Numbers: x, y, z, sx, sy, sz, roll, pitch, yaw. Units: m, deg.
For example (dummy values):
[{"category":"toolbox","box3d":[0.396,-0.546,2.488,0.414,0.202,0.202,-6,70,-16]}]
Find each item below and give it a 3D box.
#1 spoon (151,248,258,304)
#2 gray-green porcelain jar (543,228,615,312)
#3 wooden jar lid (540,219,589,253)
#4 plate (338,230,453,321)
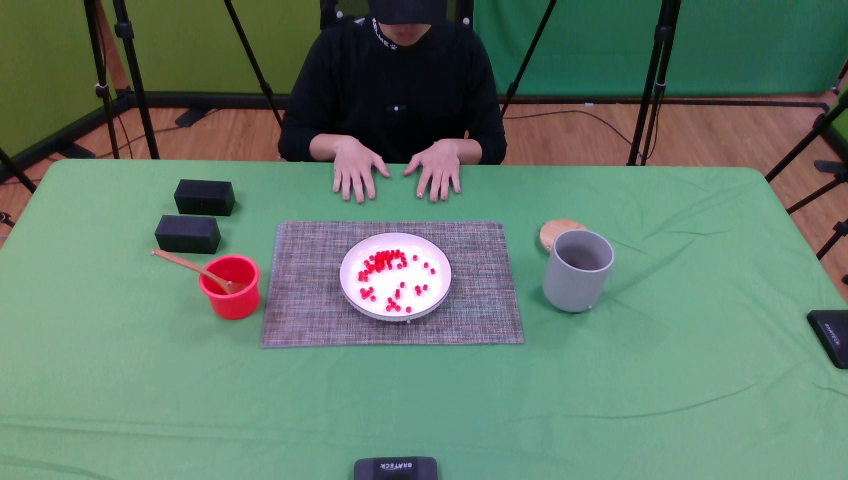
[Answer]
[{"category":"spoon","box3d":[-0.369,0.058,1.028,0.195,0.021,0.041,36,35,-32]},{"category":"gray-green porcelain jar","box3d":[0.273,0.059,1.086,0.106,0.127,0.105,2,46,-2]},{"category":"wooden jar lid","box3d":[0.286,0.001,1.218,0.108,0.021,0.107,1,46,-1]},{"category":"plate","box3d":[-0.051,0.068,1.111,0.208,0.039,0.206,2,46,-2]}]
